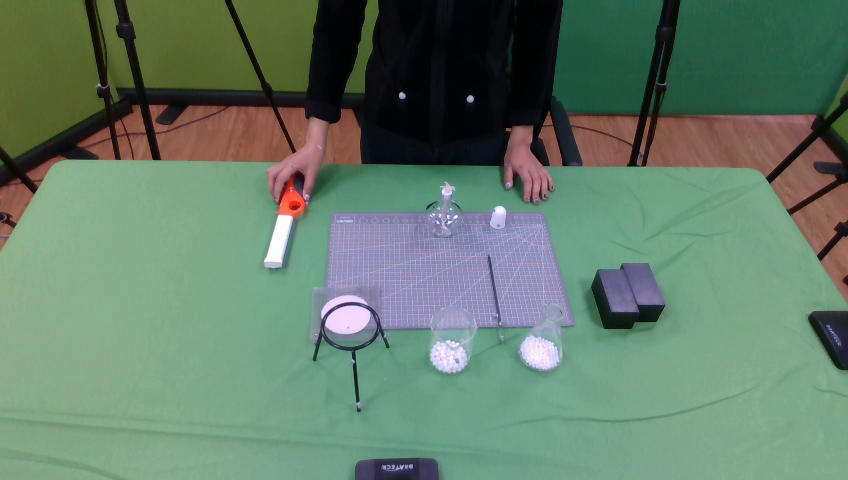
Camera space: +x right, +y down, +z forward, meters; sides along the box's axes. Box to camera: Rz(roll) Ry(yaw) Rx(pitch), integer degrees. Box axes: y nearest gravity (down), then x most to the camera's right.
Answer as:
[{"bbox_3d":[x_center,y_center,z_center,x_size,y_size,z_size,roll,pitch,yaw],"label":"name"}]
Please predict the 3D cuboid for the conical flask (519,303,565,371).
[{"bbox_3d":[0.201,0.155,0.997,0.075,0.122,0.075,2,46,-2],"label":"conical flask"}]

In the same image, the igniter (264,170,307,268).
[{"bbox_3d":[-0.278,-0.051,1.223,0.057,0.025,0.275,4,45,-2],"label":"igniter"}]

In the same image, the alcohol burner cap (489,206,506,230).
[{"bbox_3d":[0.152,-0.047,1.241,0.034,0.048,0.033,2,45,-2],"label":"alcohol burner cap"}]

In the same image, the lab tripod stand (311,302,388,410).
[{"bbox_3d":[-0.113,0.168,0.951,0.148,0.132,0.147,2,44,-2],"label":"lab tripod stand"}]

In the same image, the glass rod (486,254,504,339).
[{"bbox_3d":[0.129,0.099,1.119,0.008,0.008,0.198,-1,47,-4],"label":"glass rod"}]

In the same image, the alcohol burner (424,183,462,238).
[{"bbox_3d":[0.039,-0.063,1.197,0.078,0.119,0.077,2,44,-2],"label":"alcohol burner"}]

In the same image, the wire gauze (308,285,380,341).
[{"bbox_3d":[-0.141,0.128,1.071,0.125,0.011,0.120,-1,46,-5],"label":"wire gauze"}]

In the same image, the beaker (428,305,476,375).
[{"bbox_3d":[0.044,0.169,0.987,0.074,0.101,0.083,1,47,-3],"label":"beaker"}]
